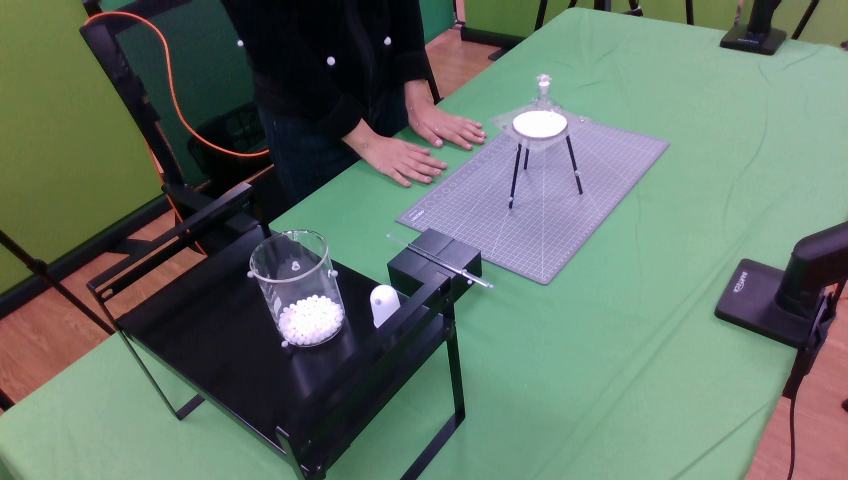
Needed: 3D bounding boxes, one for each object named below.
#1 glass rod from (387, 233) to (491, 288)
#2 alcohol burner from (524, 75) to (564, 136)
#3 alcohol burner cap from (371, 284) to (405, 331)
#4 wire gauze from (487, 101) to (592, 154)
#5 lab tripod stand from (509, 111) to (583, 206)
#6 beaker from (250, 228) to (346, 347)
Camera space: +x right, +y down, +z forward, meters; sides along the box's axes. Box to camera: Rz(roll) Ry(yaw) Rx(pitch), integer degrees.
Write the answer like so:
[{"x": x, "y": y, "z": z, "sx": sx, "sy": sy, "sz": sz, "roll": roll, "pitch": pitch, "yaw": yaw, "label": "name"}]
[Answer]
[{"x": 0.017, "y": 0.027, "z": 0.877, "sx": 0.198, "sy": 0.008, "sz": 0.008, "roll": 26, "pitch": 51, "yaw": 34, "label": "glass rod"}, {"x": 0.232, "y": -0.263, "z": 1.175, "sx": 0.078, "sy": 0.119, "sz": 0.077, "roll": -6, "pitch": 39, "yaw": 5, "label": "alcohol burner"}, {"x": -0.037, "y": 0.066, "z": 0.608, "sx": 0.034, "sy": 0.048, "sz": 0.033, "roll": -4, "pitch": 42, "yaw": 4, "label": "alcohol burner cap"}, {"x": 0.185, "y": -0.187, "z": 0.974, "sx": 0.122, "sy": 0.011, "sz": 0.124, "roll": -27, "pitch": 44, "yaw": -23, "label": "wire gauze"}, {"x": 0.197, "y": -0.139, "z": 1.020, "sx": 0.148, "sy": 0.132, "sz": 0.147, "roll": -3, "pitch": 39, "yaw": 3, "label": "lab tripod stand"}, {"x": -0.120, "y": 0.048, "z": 0.598, "sx": 0.074, "sy": 0.101, "sz": 0.083, "roll": -9, "pitch": 40, "yaw": -1, "label": "beaker"}]
